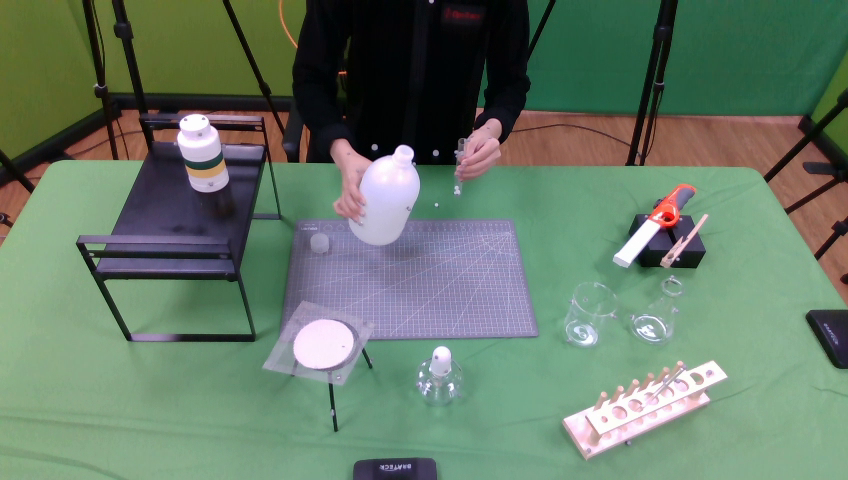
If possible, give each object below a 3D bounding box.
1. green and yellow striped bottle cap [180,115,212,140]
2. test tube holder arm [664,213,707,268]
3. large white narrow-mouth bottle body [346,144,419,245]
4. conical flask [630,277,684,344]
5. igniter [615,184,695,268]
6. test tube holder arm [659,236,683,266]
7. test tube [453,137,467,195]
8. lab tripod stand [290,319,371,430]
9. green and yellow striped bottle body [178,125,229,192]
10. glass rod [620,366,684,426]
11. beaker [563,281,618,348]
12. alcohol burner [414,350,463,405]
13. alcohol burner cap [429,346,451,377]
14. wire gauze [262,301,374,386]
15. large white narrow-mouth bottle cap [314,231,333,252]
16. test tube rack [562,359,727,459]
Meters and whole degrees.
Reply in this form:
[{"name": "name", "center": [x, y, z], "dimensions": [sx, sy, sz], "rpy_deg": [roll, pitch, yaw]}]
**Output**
[{"name": "green and yellow striped bottle cap", "center": [-0.358, -0.177, 0.951], "dimensions": [0.045, 0.020, 0.045], "rpy_deg": [2, 45, -2]}, {"name": "test tube holder arm", "center": [0.507, -0.001, 1.171], "dimensions": [0.013, 0.015, 0.178], "rpy_deg": [34, 54, 26]}, {"name": "large white narrow-mouth bottle body", "center": [-0.064, -0.085, 1.059], "dimensions": [0.102, 0.195, 0.101], "rpy_deg": [15, 43, -15]}, {"name": "conical flask", "center": [0.408, 0.117, 1.045], "dimensions": [0.075, 0.122, 0.075], "rpy_deg": [2, 46, -2]}, {"name": "igniter", "center": [0.459, -0.035, 1.197], "dimensions": [0.057, 0.025, 0.276], "rpy_deg": [33, 55, 27]}, {"name": "test tube holder arm", "center": [0.472, 0.020, 1.149], "dimensions": [0.010, 0.015, 0.088], "rpy_deg": [35, 54, 27]}, {"name": "test tube", "center": [0.063, -0.128, 1.079], "dimensions": [0.017, 0.151, 0.017], "rpy_deg": [1, 58, -1]}, {"name": "lab tripod stand", "center": [-0.146, 0.193, 0.923], "dimensions": [0.148, 0.132, 0.147], "rpy_deg": [1, 47, -1]}, {"name": "green and yellow striped bottle body", "center": [-0.361, -0.142, 0.989], "dimensions": [0.063, 0.120, 0.063], "rpy_deg": [2, 46, -2]}, {"name": "glass rod", "center": [0.323, 0.227, 0.866], "dimensions": [0.008, 0.200, 0.008], "rpy_deg": [5, 51, -6]}, {"name": "beaker", "center": [0.283, 0.129, 1.041], "dimensions": [0.074, 0.101, 0.083], "rpy_deg": [11, 46, 6]}, {"name": "alcohol burner", "center": [0.023, 0.205, 0.939], "dimensions": [0.078, 0.120, 0.077], "rpy_deg": [1, 48, -1]}, {"name": "alcohol burner cap", "center": [0.026, 0.180, 0.912], "dimensions": [0.034, 0.048, 0.033], "rpy_deg": [1, 47, -1]}, {"name": "wire gauze", "center": [-0.150, 0.148, 0.873], "dimensions": [0.121, 0.011, 0.124], "rpy_deg": [14, 46, 12]}, {"name": "large white narrow-mouth bottle cap", "center": [-0.195, 0.003, 1.178], "dimensions": [0.038, 0.024, 0.037], "rpy_deg": [2, 45, -2]}, {"name": "test tube rack", "center": [0.341, 0.247, 0.940], "dimensions": [0.243, 0.085, 0.066], "rpy_deg": [-16, 49, -18]}]
